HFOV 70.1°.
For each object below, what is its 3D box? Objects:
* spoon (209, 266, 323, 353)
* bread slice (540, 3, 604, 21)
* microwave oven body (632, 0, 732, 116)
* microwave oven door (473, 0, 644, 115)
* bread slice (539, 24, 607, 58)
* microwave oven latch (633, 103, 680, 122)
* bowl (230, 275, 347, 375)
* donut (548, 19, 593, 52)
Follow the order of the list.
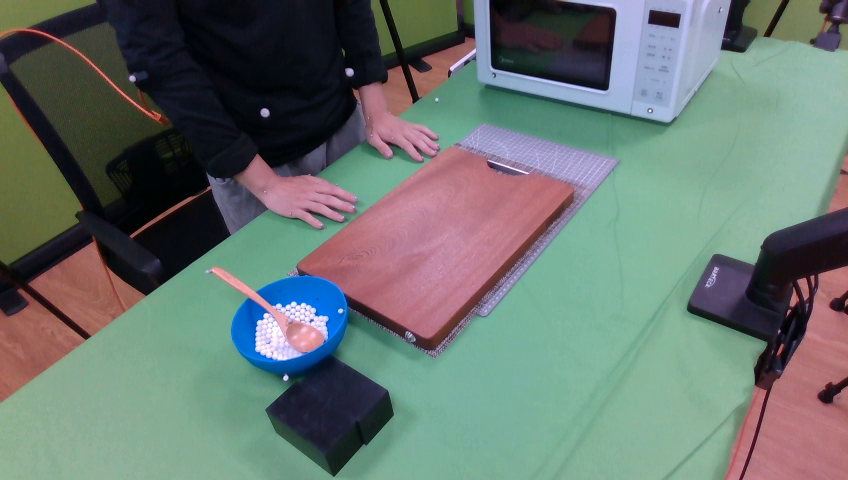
[{"bbox_3d":[-0.214,0.088,0.806,0.193,0.021,0.042,37,56,11],"label":"spoon"},{"bbox_3d":[0.318,-0.483,1.278,0.106,0.018,0.135,16,33,27],"label":"bread slice"},{"bbox_3d":[0.377,-0.462,1.267,0.438,0.261,0.327,21,48,30],"label":"microwave oven body"},{"bbox_3d":[0.257,-0.396,1.199,0.353,0.245,0.039,21,48,29],"label":"microwave oven door"},{"bbox_3d":[0.335,-0.444,1.337,0.132,0.019,0.104,-31,43,-20],"label":"bread slice"},{"bbox_3d":[0.443,-0.249,1.157,0.078,0.029,0.030,21,48,30],"label":"microwave oven latch"},{"bbox_3d":[-0.171,0.125,0.802,0.151,0.077,0.150,-4,40,4],"label":"bowl"},{"bbox_3d":[0.315,-0.441,1.300,0.099,0.048,0.098,-19,36,15],"label":"donut"}]
